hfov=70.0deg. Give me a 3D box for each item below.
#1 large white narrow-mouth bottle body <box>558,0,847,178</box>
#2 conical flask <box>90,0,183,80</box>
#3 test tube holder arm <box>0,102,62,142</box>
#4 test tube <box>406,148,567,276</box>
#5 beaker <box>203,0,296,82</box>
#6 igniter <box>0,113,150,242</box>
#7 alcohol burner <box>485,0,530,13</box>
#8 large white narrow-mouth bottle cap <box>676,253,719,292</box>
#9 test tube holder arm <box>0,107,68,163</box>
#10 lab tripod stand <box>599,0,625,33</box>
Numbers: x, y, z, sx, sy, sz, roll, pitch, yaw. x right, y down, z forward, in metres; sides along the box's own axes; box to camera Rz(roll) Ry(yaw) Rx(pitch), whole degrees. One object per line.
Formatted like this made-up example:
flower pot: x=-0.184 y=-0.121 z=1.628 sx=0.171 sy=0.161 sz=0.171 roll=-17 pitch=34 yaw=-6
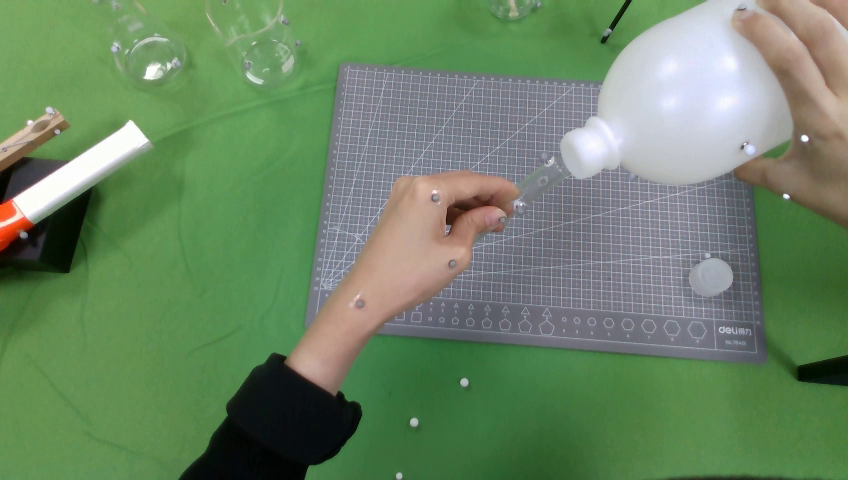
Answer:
large white narrow-mouth bottle body: x=0.173 y=-0.096 z=0.375 sx=0.195 sy=0.102 sz=0.101 roll=-28 pitch=75 yaw=-5
conical flask: x=-0.302 y=-0.225 z=0.614 sx=0.075 sy=0.122 sz=0.075 roll=0 pitch=72 yaw=-1
test tube holder arm: x=-0.422 y=-0.073 z=0.570 sx=0.178 sy=0.015 sz=0.013 roll=-39 pitch=78 yaw=-13
test tube: x=0.038 y=-0.014 z=0.419 sx=0.017 sy=0.150 sz=0.017 roll=29 pitch=41 yaw=-29
beaker: x=-0.177 y=-0.216 z=0.627 sx=0.074 sy=0.101 sz=0.083 roll=19 pitch=74 yaw=5
igniter: x=-0.380 y=-0.027 z=0.554 sx=0.276 sy=0.025 sz=0.057 roll=-39 pitch=80 yaw=-15
alcohol burner: x=0.097 y=-0.304 z=0.653 sx=0.078 sy=0.120 sz=0.077 roll=1 pitch=71 yaw=-2
large white narrow-mouth bottle cap: x=0.272 y=0.032 z=0.602 sx=0.038 sy=0.024 sz=0.037 roll=0 pitch=74 yaw=-1
test tube holder arm: x=-0.384 y=-0.096 z=0.578 sx=0.088 sy=0.015 sz=0.010 roll=-38 pitch=77 yaw=-12
lab tripod stand: x=0.266 y=-0.288 z=0.641 sx=0.148 sy=0.132 sz=0.147 roll=1 pitch=72 yaw=-2
